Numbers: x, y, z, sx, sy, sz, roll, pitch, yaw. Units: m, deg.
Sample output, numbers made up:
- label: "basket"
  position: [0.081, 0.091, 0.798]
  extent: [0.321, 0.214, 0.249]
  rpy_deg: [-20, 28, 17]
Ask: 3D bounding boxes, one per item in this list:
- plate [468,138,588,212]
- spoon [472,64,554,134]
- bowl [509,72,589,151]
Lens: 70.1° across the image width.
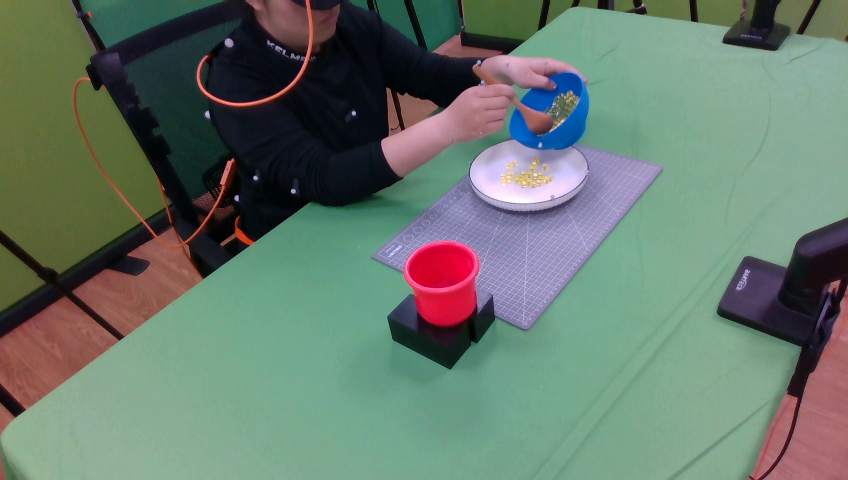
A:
- label: "plate"
  position: [0.181, -0.112, 1.064]
  extent: [0.207, 0.039, 0.206]
  rpy_deg: [-5, 40, 5]
- label: "spoon"
  position: [0.145, -0.228, 0.983]
  extent: [0.041, 0.195, 0.021]
  rpy_deg: [-40, 35, 29]
- label: "bowl"
  position: [0.233, -0.211, 1.063]
  extent: [0.151, 0.077, 0.150]
  rpy_deg: [-30, 40, 30]
